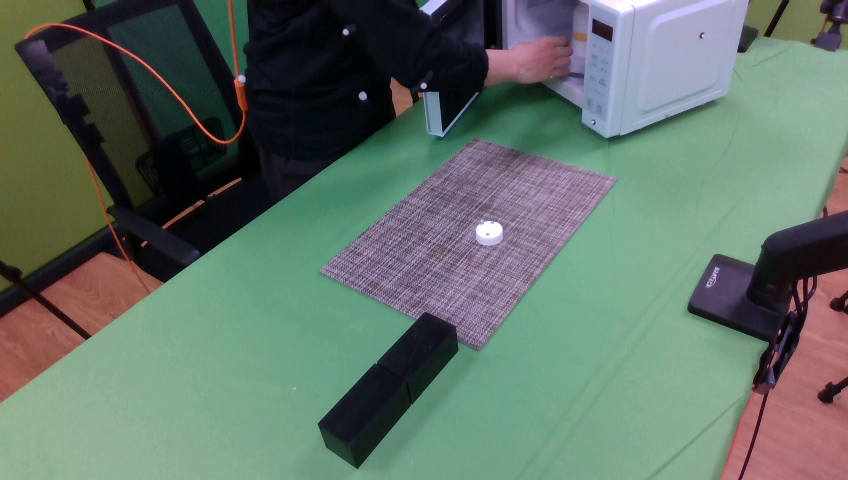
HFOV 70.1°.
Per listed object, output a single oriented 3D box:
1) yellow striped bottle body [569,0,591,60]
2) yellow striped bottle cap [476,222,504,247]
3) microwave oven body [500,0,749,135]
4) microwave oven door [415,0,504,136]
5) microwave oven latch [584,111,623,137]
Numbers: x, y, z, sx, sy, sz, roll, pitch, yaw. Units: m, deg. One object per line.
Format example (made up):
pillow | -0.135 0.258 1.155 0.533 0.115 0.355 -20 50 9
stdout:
yellow striped bottle body | 0.336 -0.447 1.267 0.063 0.121 0.062 -8 43 8
yellow striped bottle cap | 0.105 -0.010 0.966 0.044 0.019 0.044 -4 39 3
microwave oven body | 0.382 -0.444 1.246 0.327 0.261 0.437 -22 42 -16
microwave oven door | 0.084 -0.409 1.238 0.039 0.245 0.356 13 45 23
microwave oven latch | 0.337 -0.222 1.142 0.030 0.029 0.078 -21 42 -14
